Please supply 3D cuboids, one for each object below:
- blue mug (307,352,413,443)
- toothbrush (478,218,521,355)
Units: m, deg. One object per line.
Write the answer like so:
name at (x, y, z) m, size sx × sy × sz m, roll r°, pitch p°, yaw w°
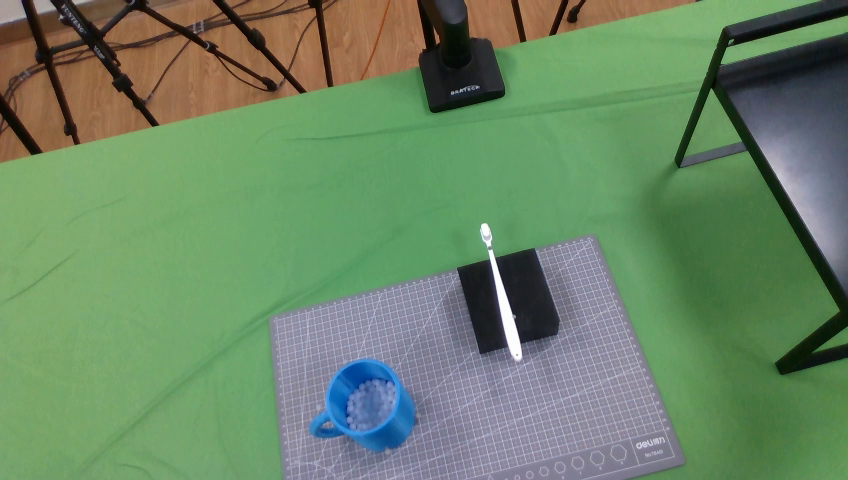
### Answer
blue mug at (-0.075, 0.188, 0.689) m, size 0.116 × 0.107 × 0.081 m, roll -23°, pitch 63°, yaw -3°
toothbrush at (0.090, 0.051, 0.728) m, size 0.014 × 0.017 × 0.180 m, roll -9°, pitch 63°, yaw -5°
